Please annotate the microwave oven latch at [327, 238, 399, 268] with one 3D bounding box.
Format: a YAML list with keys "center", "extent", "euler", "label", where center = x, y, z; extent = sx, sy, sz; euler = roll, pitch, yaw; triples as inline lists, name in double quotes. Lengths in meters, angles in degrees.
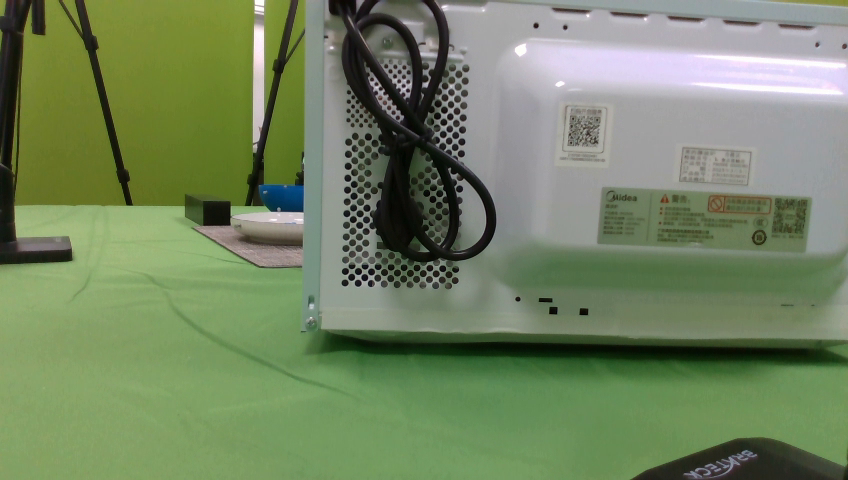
- center: [-0.069, 0.015, 0.694]
  extent: [0.079, 0.029, 0.030]
  euler: [3, 7, -3]
  label: "microwave oven latch"

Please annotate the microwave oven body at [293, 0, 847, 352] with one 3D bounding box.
- center: [0.122, -0.055, 0.550]
  extent: [0.442, 0.260, 0.325]
  euler: [3, 7, -5]
  label: "microwave oven body"

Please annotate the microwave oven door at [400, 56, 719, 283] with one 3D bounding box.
- center: [0.155, -0.077, 0.698]
  extent: [0.356, 0.243, 0.039]
  euler: [2, 8, -5]
  label: "microwave oven door"

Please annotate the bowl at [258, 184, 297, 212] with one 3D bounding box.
- center: [-0.286, -0.079, 1.327]
  extent: [0.151, 0.077, 0.151]
  euler: [2, 8, 0]
  label: "bowl"

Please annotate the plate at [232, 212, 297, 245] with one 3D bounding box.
- center: [-0.214, -0.019, 1.018]
  extent: [0.208, 0.039, 0.207]
  euler: [2, 7, 0]
  label: "plate"
